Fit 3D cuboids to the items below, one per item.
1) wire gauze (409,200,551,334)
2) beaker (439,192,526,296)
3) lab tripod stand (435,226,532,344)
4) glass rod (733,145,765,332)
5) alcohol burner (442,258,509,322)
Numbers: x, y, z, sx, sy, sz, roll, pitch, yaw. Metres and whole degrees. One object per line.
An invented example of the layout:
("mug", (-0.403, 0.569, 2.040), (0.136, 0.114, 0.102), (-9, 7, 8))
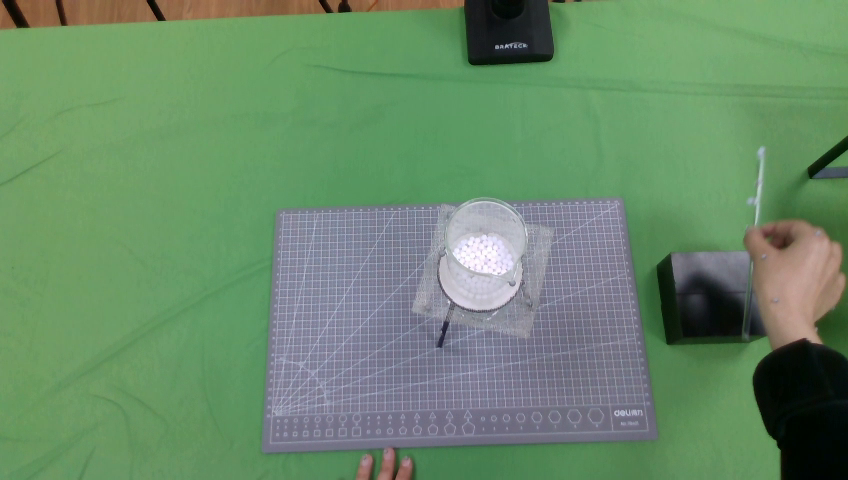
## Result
("wire gauze", (0.059, 0.026, 0.618), (0.121, 0.011, 0.124), (15, 70, 5))
("beaker", (0.055, 0.011, 0.573), (0.074, 0.101, 0.083), (-29, 73, -8))
("lab tripod stand", (0.055, 0.045, 0.682), (0.148, 0.132, 0.147), (-1, 71, 3))
("glass rod", (0.342, 0.001, 0.638), (0.008, 0.008, 0.200), (2, 101, 2))
("alcohol burner", (0.059, 0.053, 0.689), (0.078, 0.120, 0.077), (-1, 72, 3))
